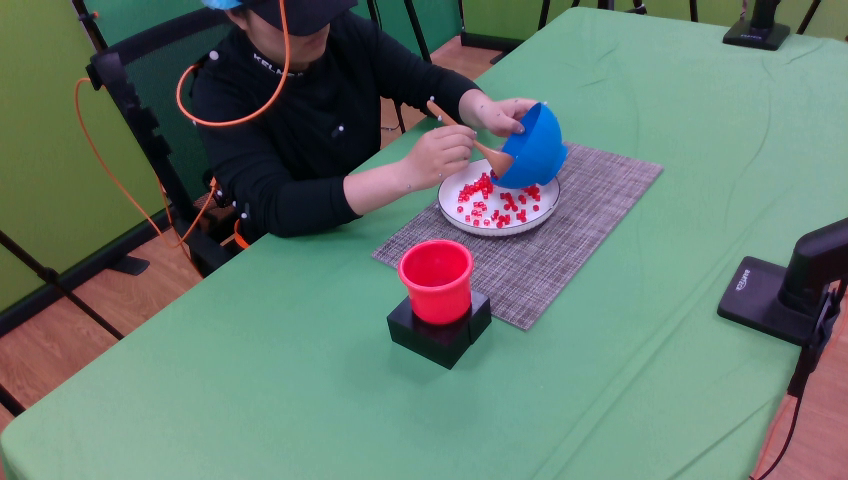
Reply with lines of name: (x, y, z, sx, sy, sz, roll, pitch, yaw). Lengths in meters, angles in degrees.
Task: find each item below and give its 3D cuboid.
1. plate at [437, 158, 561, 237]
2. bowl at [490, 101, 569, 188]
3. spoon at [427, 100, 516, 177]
plate: (0.127, -0.070, 1.023, 0.207, 0.039, 0.206, -5, 40, 5)
bowl: (0.179, -0.139, 0.974, 0.077, 0.151, 0.151, 29, 44, -9)
spoon: (0.077, -0.156, 0.947, 0.041, 0.195, 0.021, -56, 19, 0)
